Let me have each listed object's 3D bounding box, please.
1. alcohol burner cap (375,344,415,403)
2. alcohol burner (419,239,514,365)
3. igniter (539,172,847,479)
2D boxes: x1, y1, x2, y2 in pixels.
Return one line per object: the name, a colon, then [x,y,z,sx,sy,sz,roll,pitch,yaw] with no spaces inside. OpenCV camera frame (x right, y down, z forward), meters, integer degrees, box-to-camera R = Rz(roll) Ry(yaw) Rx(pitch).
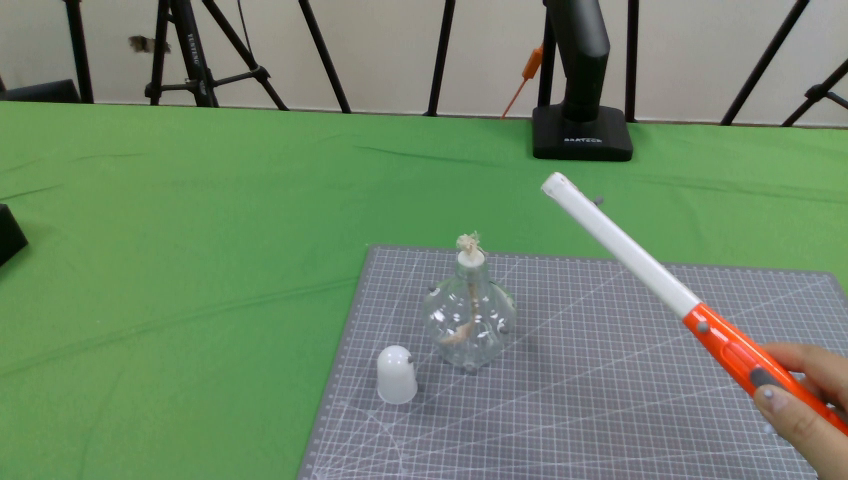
alcohol burner cap: [-0.024,0.101,0.472,0.034,0.048,0.033,0,41,1]
alcohol burner: [0.035,0.044,0.482,0.078,0.120,0.077,1,41,0]
igniter: [0.168,0.051,0.361,0.274,0.025,0.057,50,18,29]
